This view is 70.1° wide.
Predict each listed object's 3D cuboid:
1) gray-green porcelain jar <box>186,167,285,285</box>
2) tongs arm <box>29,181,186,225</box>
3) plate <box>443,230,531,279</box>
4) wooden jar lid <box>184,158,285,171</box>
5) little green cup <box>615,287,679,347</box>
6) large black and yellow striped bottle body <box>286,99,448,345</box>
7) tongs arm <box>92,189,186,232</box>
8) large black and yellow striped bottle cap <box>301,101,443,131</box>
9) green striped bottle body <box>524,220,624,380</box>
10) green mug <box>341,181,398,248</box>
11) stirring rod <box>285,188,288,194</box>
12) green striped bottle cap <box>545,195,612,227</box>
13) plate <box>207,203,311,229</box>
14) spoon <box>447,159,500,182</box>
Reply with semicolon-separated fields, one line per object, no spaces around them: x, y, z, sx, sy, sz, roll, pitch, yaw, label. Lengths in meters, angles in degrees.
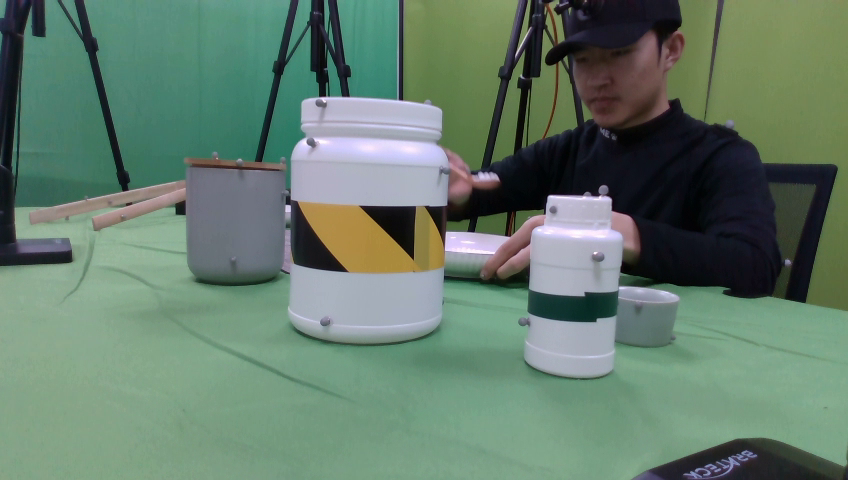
-0.212;-0.017;0.682;0.106;0.126;0.106;2;7;0;gray-green porcelain jar
-0.609;-0.083;1.245;0.050;0.026;0.386;5;16;23;tongs arm
0.055;0.018;0.815;0.209;0.038;0.209;3;9;0;plate
-0.210;-0.078;0.674;0.108;0.020;0.108;5;6;0;wooden jar lid
0.180;0.064;0.506;0.061;0.038;0.061;1;8;0;little green cup
-0.047;-0.018;0.501;0.131;0.184;0.130;2;7;0;large black and yellow striped bottle body
-0.534;-0.076;1.221;0.028;0.028;0.388;-2;15;12;tongs arm
-0.042;-0.100;0.491;0.115;0.019;0.115;1;8;0;large black and yellow striped bottle cap
0.104;0.031;0.422;0.063;0.119;0.063;2;8;0;green striped bottle body
-0.089;-0.044;0.997;0.093;0.105;0.125;1;7;-8;green mug
-0.353;-0.122;1.518;0.006;0.014;0.176;1;7;1;stirring rod
0.106;-0.020;0.415;0.044;0.020;0.044;2;4;0;green striped bottle cap
-0.342;-0.050;1.259;0.208;0.039;0.207;3;7;0;plate
0.028;-0.114;0.890;0.193;0.021;0.042;26;17;35;spoon
